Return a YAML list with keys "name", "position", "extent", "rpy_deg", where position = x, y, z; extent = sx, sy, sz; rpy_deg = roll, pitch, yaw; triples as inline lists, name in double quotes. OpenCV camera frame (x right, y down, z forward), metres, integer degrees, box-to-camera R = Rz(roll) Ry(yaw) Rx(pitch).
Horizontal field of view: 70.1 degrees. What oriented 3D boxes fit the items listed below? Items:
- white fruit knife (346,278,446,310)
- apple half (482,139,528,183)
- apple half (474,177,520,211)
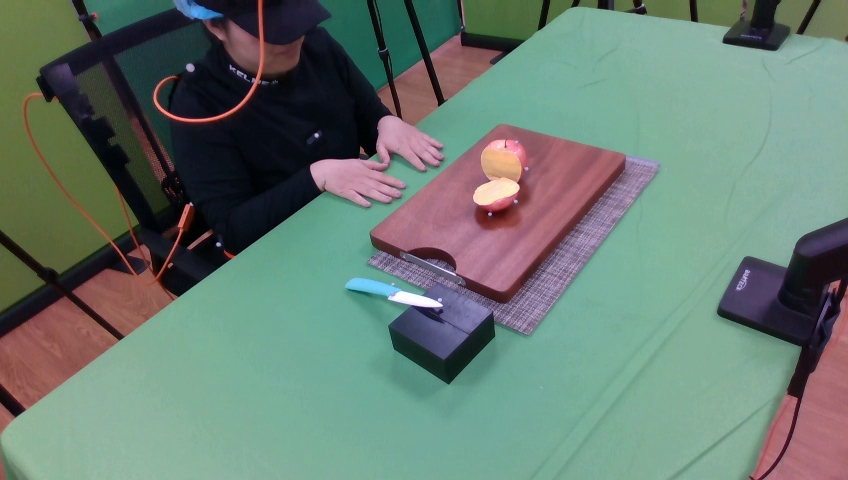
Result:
- name: "white fruit knife"
  position: [-0.042, 0.077, 0.865]
  extent: [0.205, 0.016, 0.027]
  rpy_deg: [9, 41, 46]
- name: "apple half"
  position: [0.145, -0.138, 1.039]
  extent: [0.080, 0.075, 0.053]
  rpy_deg: [15, 41, 31]
- name: "apple half"
  position: [0.123, -0.070, 0.994]
  extent: [0.081, 0.033, 0.081]
  rpy_deg: [-17, 29, 11]
